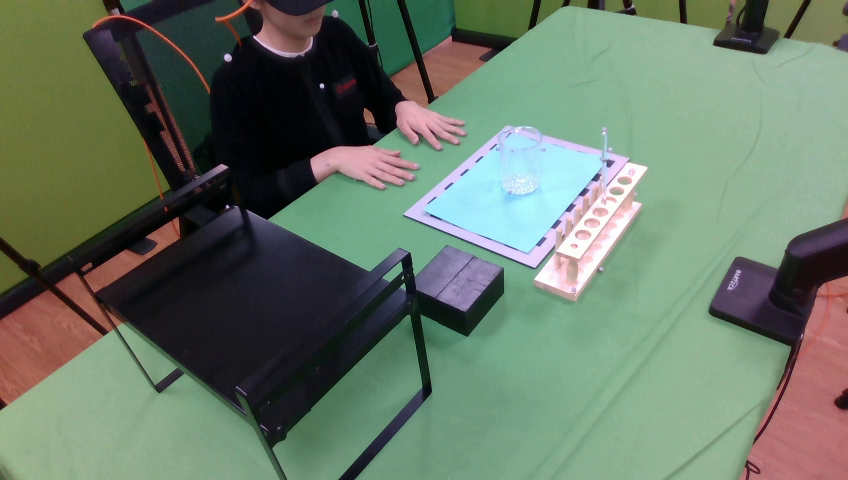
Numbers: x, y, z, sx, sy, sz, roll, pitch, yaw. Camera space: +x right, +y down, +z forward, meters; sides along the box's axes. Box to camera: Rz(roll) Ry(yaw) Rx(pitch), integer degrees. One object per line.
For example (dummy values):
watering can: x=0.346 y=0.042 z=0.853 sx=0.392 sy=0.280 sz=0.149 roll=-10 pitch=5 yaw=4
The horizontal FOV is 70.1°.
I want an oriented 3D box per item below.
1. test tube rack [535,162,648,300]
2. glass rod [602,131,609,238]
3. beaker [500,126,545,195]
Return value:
test tube rack: x=0.257 y=-0.024 z=0.916 sx=0.066 sy=0.085 sz=0.243 roll=22 pitch=49 yaw=30
glass rod: x=0.262 y=-0.074 z=0.871 sx=0.008 sy=0.201 sz=0.008 roll=-9 pitch=43 yaw=9
beaker: x=0.169 y=-0.137 z=1.045 sx=0.074 sy=0.101 sz=0.083 roll=-8 pitch=40 yaw=0
